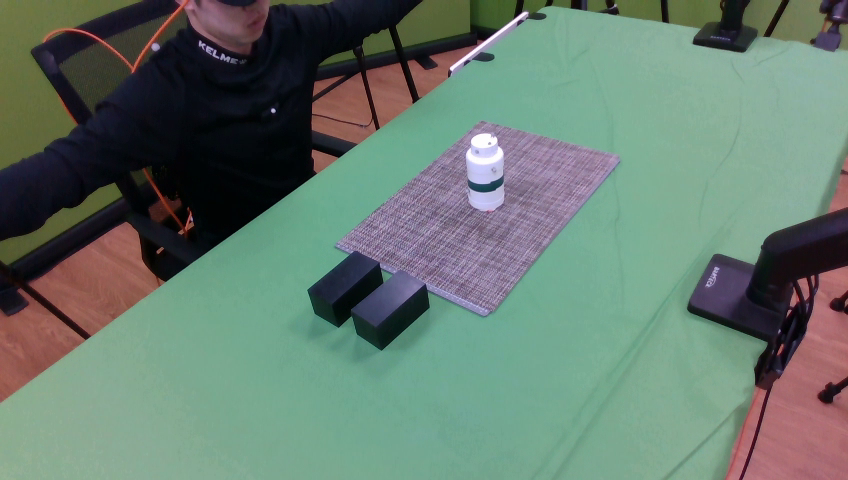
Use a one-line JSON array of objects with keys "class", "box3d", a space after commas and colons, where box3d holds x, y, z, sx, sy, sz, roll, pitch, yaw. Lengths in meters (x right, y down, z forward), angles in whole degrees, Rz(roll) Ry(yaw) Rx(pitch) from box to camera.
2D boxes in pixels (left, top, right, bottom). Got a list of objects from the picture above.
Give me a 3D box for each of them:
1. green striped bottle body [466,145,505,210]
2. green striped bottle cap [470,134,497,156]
[{"class": "green striped bottle body", "box3d": [0.102, -0.113, 1.005, 0.063, 0.120, 0.063, -4, 41, 4]}, {"class": "green striped bottle cap", "box3d": [0.095, -0.152, 0.971, 0.044, 0.020, 0.044, -3, 38, 3]}]
